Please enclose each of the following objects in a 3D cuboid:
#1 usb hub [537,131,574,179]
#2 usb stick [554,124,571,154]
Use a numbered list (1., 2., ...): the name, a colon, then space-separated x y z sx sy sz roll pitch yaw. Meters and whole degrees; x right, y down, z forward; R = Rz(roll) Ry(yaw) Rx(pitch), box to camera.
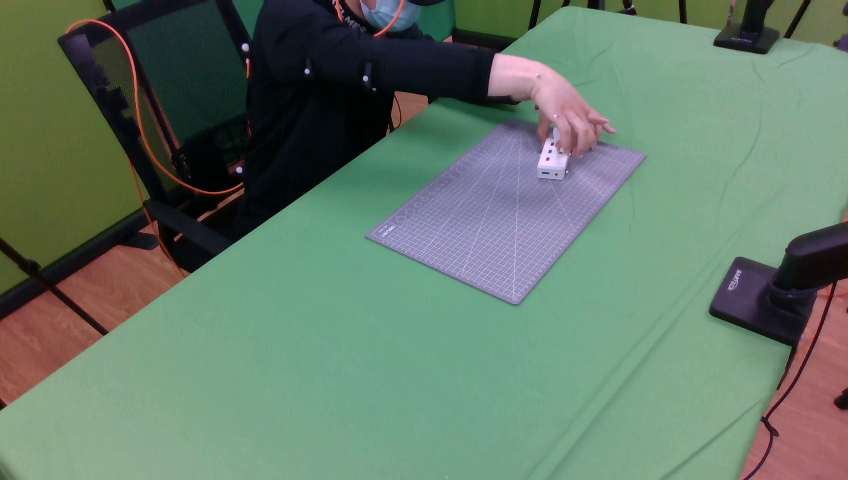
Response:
1. usb hub: 0.243 -0.158 1.111 0.049 0.025 0.125 8 44 17
2. usb stick: 0.248 -0.176 1.078 0.027 0.059 0.021 4 43 19
